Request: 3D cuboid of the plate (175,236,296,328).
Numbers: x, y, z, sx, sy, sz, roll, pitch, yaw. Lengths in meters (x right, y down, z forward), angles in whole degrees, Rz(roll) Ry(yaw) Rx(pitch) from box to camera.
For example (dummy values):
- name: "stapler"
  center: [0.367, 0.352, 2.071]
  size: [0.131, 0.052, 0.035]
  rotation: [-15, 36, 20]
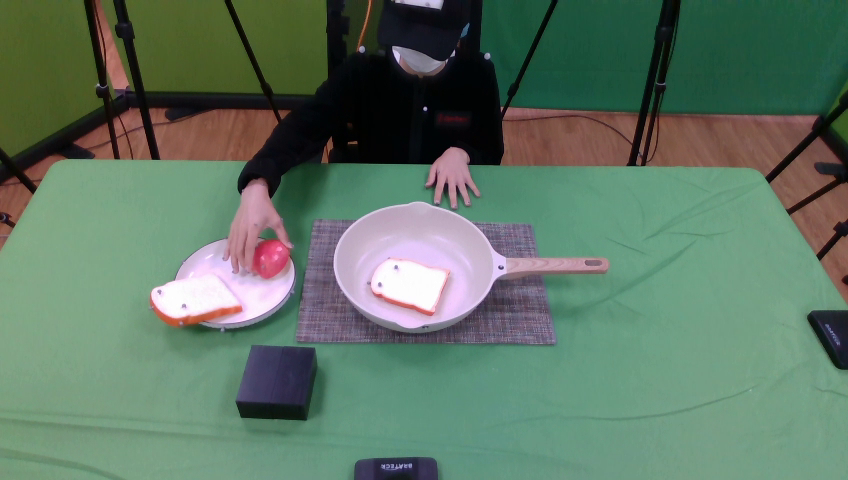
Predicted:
- name: "plate"
  center: [-0.335, 0.077, 1.087]
  size: [0.208, 0.039, 0.206]
  rotation: [2, 46, -2]

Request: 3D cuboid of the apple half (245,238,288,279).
- name: "apple half"
  center: [-0.289, 0.026, 1.099]
  size: [0.081, 0.033, 0.081]
  rotation: [-3, 67, 8]

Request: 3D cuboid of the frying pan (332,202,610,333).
- name: "frying pan"
  center: [0.085, 0.052, 1.093]
  size: [0.488, 0.103, 0.305]
  rotation: [-1, 46, 6]

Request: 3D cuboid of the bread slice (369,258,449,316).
- name: "bread slice"
  center: [-0.032, 0.083, 1.107]
  size: [0.134, 0.018, 0.106]
  rotation: [13, 45, 8]

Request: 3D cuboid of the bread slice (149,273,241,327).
- name: "bread slice"
  center: [-0.393, 0.101, 1.029]
  size: [0.132, 0.019, 0.104]
  rotation: [-14, 44, -45]
